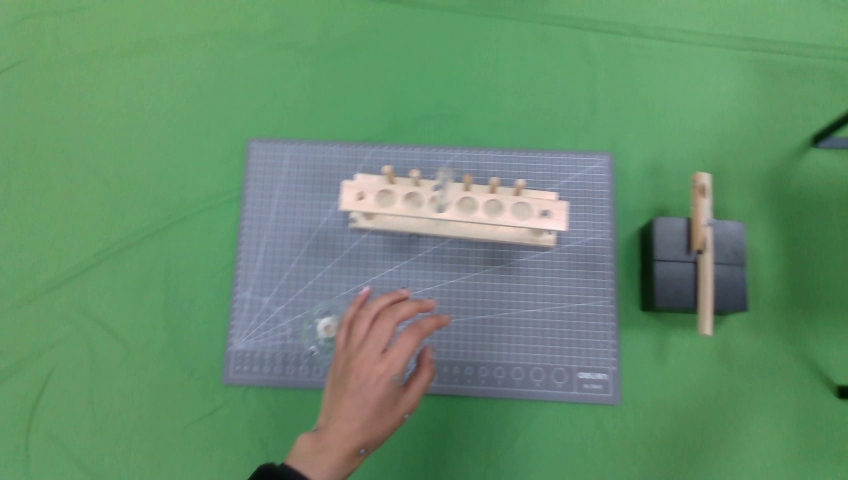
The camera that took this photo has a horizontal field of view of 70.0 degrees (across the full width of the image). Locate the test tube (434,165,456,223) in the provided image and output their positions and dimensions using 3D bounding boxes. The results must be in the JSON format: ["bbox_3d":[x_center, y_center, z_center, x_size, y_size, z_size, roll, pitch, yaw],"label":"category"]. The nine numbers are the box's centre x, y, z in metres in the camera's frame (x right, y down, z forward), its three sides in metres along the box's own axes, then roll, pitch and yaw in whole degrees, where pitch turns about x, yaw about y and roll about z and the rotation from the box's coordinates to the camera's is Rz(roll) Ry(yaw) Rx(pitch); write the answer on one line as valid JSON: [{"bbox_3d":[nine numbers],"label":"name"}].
[{"bbox_3d":[0.021,-0.045,0.635,0.017,0.151,0.017,0,75,-1],"label":"test tube"}]

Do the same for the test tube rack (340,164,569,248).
[{"bbox_3d":[0.035,-0.044,0.687,0.242,0.085,0.066,6,78,2],"label":"test tube rack"}]

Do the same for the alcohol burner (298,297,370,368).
[{"bbox_3d":[-0.098,0.097,0.643,0.078,0.119,0.077,0,77,-1],"label":"alcohol burner"}]

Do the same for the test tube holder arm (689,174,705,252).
[{"bbox_3d":[0.302,-0.029,0.669,0.010,0.015,0.087,6,78,-9],"label":"test tube holder arm"}]

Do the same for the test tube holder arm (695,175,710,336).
[{"bbox_3d":[0.304,0.015,0.661,0.013,0.015,0.177,6,78,-9],"label":"test tube holder arm"}]
